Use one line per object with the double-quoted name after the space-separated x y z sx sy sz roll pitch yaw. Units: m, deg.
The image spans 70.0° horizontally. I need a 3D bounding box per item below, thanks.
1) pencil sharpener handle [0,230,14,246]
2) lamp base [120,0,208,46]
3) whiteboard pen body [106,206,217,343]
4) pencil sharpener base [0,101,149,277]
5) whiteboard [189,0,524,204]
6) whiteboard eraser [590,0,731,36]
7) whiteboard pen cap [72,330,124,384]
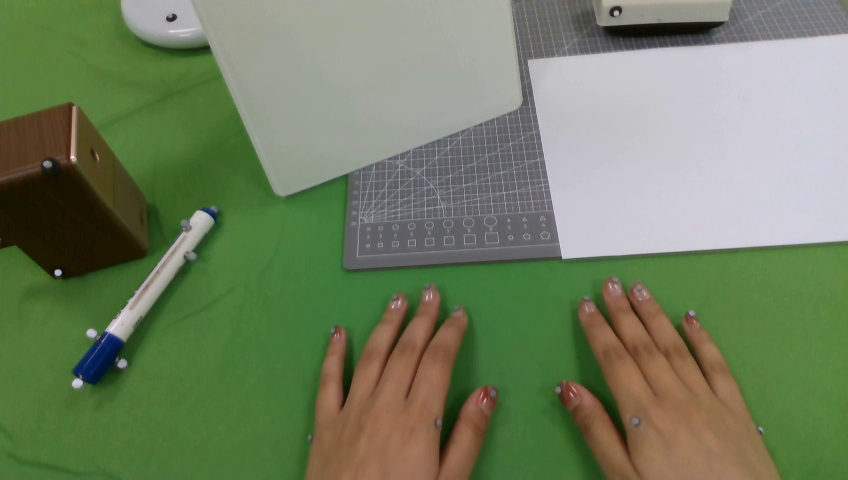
-0.300 -0.020 0.402 0.031 0.068 0.035 -17 44 -6 "pencil sharpener handle"
-0.242 -0.301 0.558 0.177 0.182 0.160 32 64 27 "lamp base"
-0.189 0.031 0.427 0.017 0.017 0.140 16 57 16 "whiteboard pen body"
-0.252 -0.031 0.420 0.077 0.108 0.060 -17 56 -6 "pencil sharpener base"
-0.069 -0.222 0.449 0.217 0.308 0.142 -22 37 -9 "whiteboard"
0.208 -0.211 0.540 0.112 0.042 0.055 -1 57 5 "whiteboard eraser"
-0.211 0.075 0.394 0.018 0.018 0.033 16 55 16 "whiteboard pen cap"
